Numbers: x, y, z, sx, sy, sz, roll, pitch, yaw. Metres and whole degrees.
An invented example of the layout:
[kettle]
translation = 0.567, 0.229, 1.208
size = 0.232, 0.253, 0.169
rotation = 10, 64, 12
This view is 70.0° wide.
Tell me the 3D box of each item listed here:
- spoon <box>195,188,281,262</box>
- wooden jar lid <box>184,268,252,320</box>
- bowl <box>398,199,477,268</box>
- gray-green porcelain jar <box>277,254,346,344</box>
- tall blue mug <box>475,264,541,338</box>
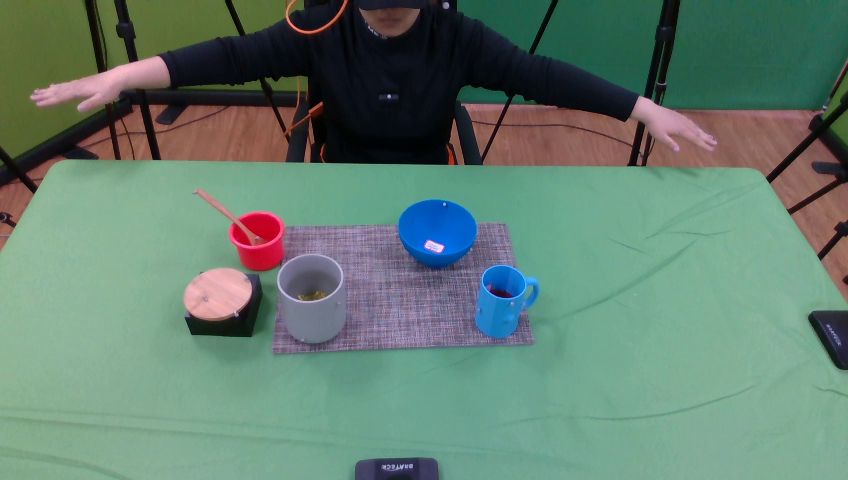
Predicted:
[spoon]
translation = -0.342, -0.028, 1.117
size = 0.194, 0.021, 0.041
rotation = 47, 49, -20
[wooden jar lid]
translation = -0.343, 0.092, 1.015
size = 0.108, 0.021, 0.107
rotation = 3, 46, -3
[bowl]
translation = 0.024, 0.000, 1.156
size = 0.151, 0.077, 0.150
rotation = 2, 46, -2
[gray-green porcelain jar]
translation = -0.184, 0.102, 1.007
size = 0.106, 0.127, 0.105
rotation = 2, 46, -2
[tall blue mug]
translation = 0.141, 0.098, 1.047
size = 0.077, 0.108, 0.107
rotation = 33, 53, 27
